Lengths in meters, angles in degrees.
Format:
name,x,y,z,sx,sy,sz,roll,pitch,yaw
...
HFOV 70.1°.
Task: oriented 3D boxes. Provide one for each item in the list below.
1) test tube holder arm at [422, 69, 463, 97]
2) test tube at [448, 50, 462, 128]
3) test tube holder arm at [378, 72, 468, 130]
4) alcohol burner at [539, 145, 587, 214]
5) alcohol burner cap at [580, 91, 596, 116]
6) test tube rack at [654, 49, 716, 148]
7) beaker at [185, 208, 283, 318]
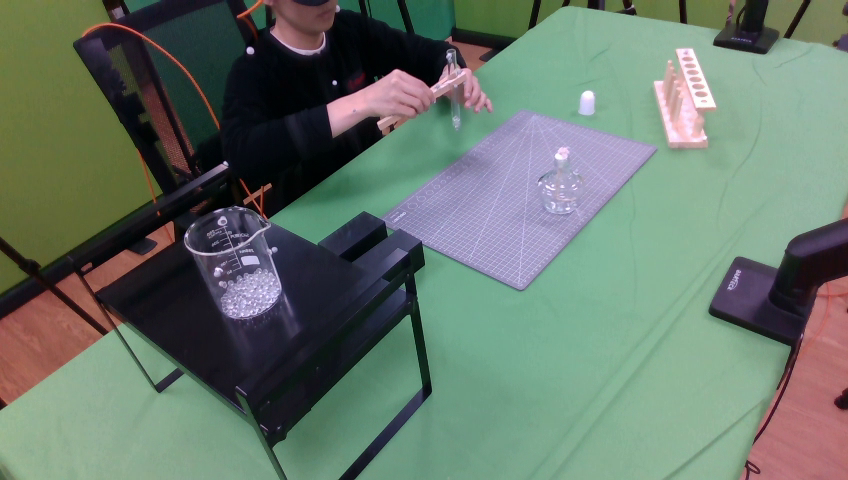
name,x,y,z,sx,sy,sz,roll,pitch,yaw
test tube holder arm,0.032,-0.267,1.047,0.088,0.015,0.010,-39,49,-16
test tube,0.055,-0.263,1.064,0.017,0.151,0.017,-4,44,4
test tube holder arm,-0.001,-0.239,1.034,0.179,0.015,0.013,-33,47,-11
alcohol burner,0.226,-0.102,0.986,0.078,0.119,0.077,-6,41,6
alcohol burner cap,0.338,-0.283,1.238,0.034,0.048,0.033,-5,42,5
test tube rack,0.502,-0.281,1.176,0.066,0.085,0.241,1,41,11
beaker,-0.192,0.026,0.637,0.084,0.101,0.073,-13,41,-7
